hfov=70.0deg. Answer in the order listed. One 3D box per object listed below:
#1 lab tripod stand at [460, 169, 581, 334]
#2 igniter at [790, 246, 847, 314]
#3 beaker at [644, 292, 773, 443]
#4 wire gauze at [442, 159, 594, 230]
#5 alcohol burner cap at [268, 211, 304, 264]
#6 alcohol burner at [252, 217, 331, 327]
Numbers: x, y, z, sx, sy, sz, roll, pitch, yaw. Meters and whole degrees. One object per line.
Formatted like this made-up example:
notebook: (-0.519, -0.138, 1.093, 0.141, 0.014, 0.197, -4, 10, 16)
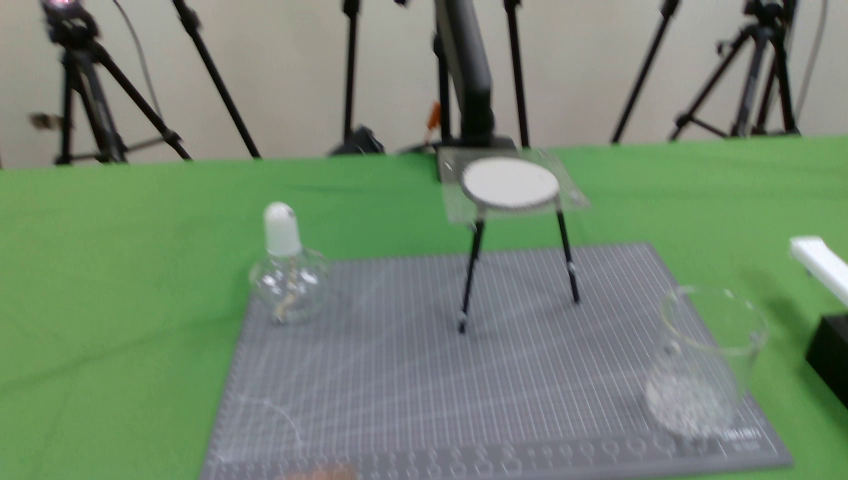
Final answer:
lab tripod stand: (0.086, 0.008, 0.591, 0.148, 0.132, 0.147, 0, 32, 0)
igniter: (0.381, 0.081, 0.484, 0.057, 0.025, 0.274, -2, 30, 1)
beaker: (0.214, 0.101, 0.475, 0.074, 0.101, 0.083, -13, 34, -16)
wire gauze: (0.079, -0.047, 0.551, 0.121, 0.011, 0.124, -2, 33, -3)
alcohol burner cap: (-0.131, -0.005, 0.571, 0.034, 0.048, 0.033, 1, 28, 0)
alcohol burner: (-0.131, 0.026, 0.590, 0.078, 0.120, 0.077, 0, 35, 0)
